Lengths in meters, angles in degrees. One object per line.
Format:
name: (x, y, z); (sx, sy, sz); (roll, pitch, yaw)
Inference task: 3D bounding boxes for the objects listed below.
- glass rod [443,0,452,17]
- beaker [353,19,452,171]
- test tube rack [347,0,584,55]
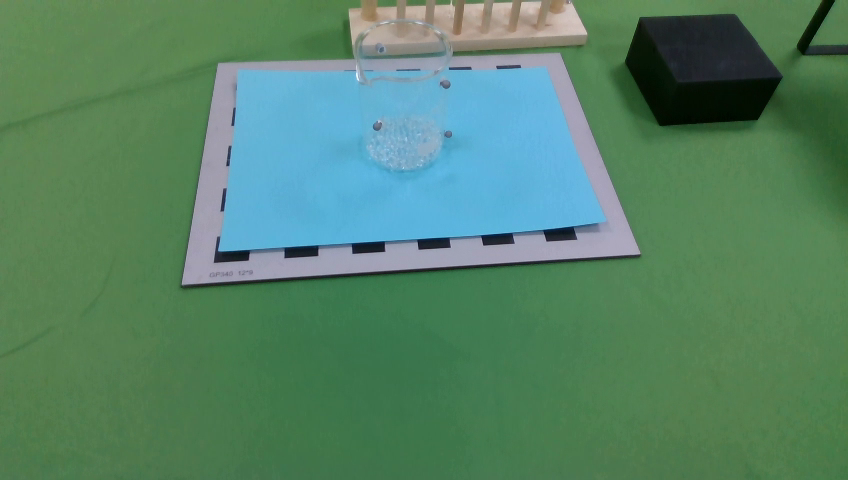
glass rod: (0.038, -0.296, 0.563); (0.008, 0.201, 0.008); (5, 54, -7)
beaker: (-0.020, -0.111, 0.487); (0.073, 0.101, 0.084); (35, 59, 23)
test tube rack: (0.044, -0.247, 0.609); (0.243, 0.086, 0.066); (-5, 52, -7)
